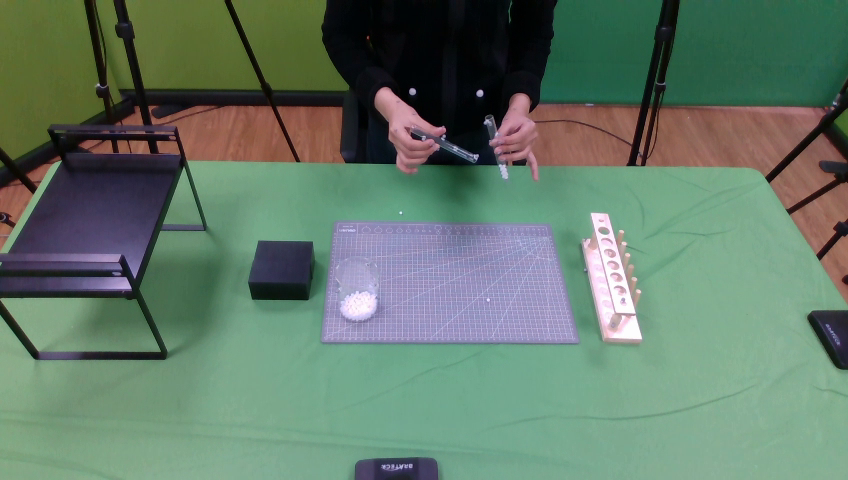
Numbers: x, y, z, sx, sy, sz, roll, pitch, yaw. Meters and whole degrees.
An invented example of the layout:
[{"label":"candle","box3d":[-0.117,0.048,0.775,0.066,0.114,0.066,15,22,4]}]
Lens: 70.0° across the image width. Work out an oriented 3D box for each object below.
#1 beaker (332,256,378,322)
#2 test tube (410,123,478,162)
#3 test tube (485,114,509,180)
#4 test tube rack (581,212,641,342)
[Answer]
[{"label":"beaker","box3d":[-0.114,0.089,1.047,0.083,0.101,0.074,30,52,21]},{"label":"test tube","box3d":[0.037,-0.176,1.094,0.151,0.017,0.017,22,38,-30]},{"label":"test tube","box3d":[0.139,-0.172,1.141,0.017,0.151,0.017,-13,43,12]},{"label":"test tube rack","box3d":[0.351,0.063,1.121,0.067,0.085,0.241,3,46,-1]}]
